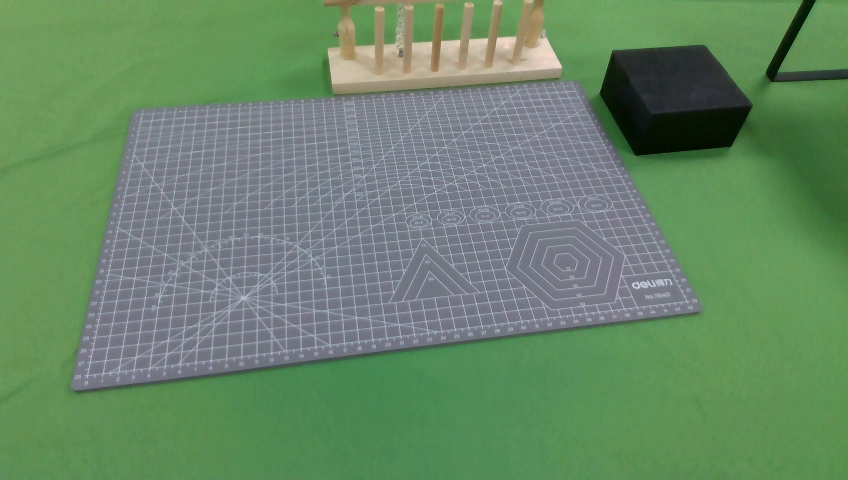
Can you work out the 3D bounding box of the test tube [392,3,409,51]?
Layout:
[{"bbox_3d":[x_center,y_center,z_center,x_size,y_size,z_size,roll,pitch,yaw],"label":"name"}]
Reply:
[{"bbox_3d":[-0.020,-0.256,0.591,0.017,0.151,0.017,4,45,-4],"label":"test tube"}]

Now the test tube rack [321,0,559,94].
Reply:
[{"bbox_3d":[0.020,-0.213,0.623,0.243,0.086,0.066,-6,50,-8],"label":"test tube rack"}]
